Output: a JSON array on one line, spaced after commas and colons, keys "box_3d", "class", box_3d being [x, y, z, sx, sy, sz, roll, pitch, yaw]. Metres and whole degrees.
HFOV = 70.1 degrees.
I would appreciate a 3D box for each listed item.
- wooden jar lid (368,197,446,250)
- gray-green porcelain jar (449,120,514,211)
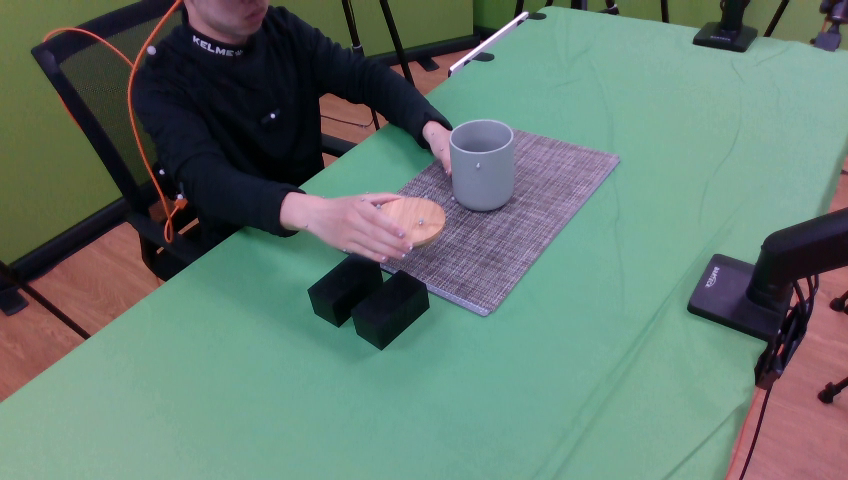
[{"box_3d": [-0.023, -0.022, 0.843, 0.108, 0.021, 0.108, -3, 38, 3], "class": "wooden jar lid"}, {"box_3d": [0.097, -0.120, 1.009, 0.106, 0.127, 0.105, -4, 41, 4], "class": "gray-green porcelain jar"}]
